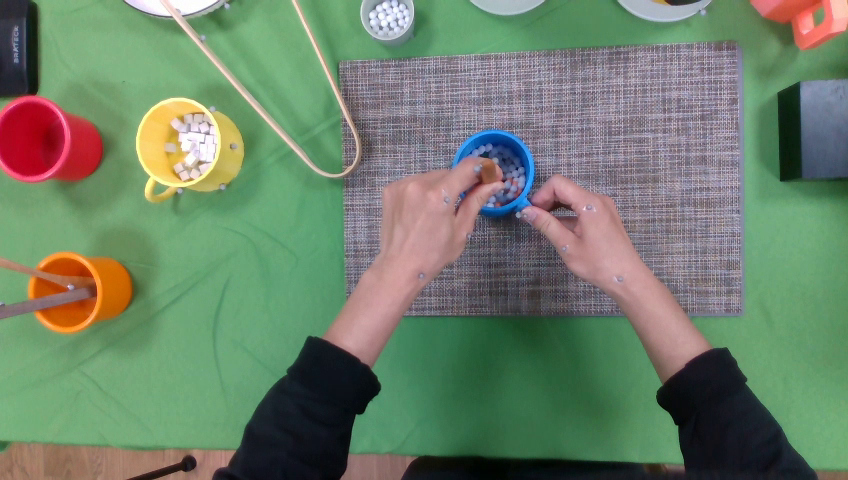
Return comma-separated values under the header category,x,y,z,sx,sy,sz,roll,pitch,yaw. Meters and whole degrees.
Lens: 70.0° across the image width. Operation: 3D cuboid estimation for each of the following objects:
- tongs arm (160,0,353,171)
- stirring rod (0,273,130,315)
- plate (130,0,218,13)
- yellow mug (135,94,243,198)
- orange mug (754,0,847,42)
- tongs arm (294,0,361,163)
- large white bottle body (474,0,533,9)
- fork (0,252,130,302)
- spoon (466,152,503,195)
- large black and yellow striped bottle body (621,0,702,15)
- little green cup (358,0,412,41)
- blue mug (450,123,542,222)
category,x,y,z,sx,sy,sz,roll,pitch,yaw
tongs arm,-0.225,-0.222,0.692,0.051,0.026,0.385,-40,95,2
stirring rod,-0.430,0.065,0.689,0.177,0.006,0.014,-16,85,-36
plate,-0.289,-0.369,0.713,0.207,0.039,0.207,0,92,6
yellow mug,-0.281,-0.101,0.706,0.100,0.064,0.131,38,96,3
orange mug,0.396,-0.272,0.618,0.083,0.101,0.126,-11,86,7
tongs arm,-0.155,-0.270,0.686,0.028,0.027,0.388,-26,96,-2
large white bottle body,0.084,-0.326,0.604,0.130,0.185,0.130,0,91,6
fork,-0.440,0.030,0.683,0.209,0.018,0.028,27,89,-39
spoon,0.061,-0.062,0.584,0.041,0.194,0.021,-13,89,4
large black and yellow striped bottle body,0.254,-0.312,0.588,0.130,0.184,0.130,0,91,6
little green cup,-0.042,-0.259,0.692,0.061,0.038,0.061,0,92,5
blue mug,0.084,-0.063,0.647,0.082,0.106,0.116,-44,87,5
